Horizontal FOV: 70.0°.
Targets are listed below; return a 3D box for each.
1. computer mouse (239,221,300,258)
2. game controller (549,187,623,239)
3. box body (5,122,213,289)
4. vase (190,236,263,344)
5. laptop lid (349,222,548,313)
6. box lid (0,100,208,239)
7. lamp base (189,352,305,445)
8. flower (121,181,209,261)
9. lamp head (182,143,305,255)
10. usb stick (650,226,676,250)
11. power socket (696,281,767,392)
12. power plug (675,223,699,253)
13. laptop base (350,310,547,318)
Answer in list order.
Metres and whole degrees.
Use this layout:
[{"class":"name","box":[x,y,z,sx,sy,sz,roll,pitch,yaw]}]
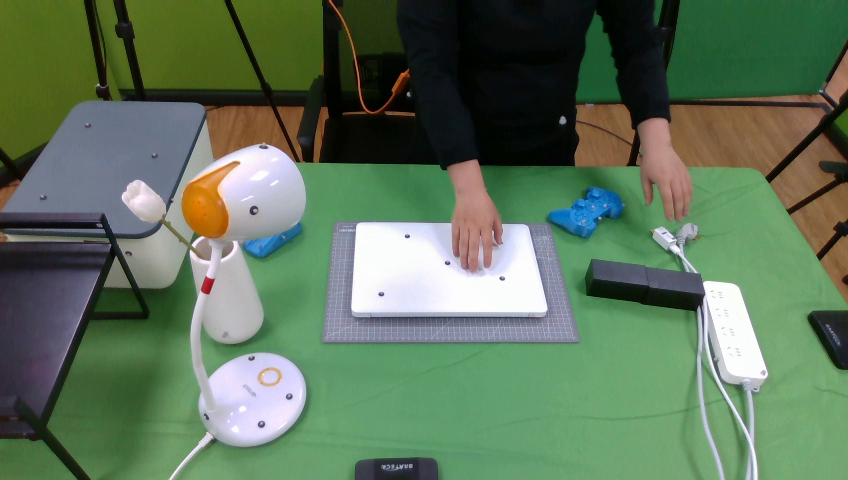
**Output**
[{"class":"computer mouse","box":[-0.300,-0.016,1.178,0.062,0.041,0.117,35,57,22]},{"class":"game controller","box":[0.345,-0.065,1.272,0.155,0.052,0.096,-31,59,-28]},{"class":"box body","box":[-0.563,-0.087,1.140,0.254,0.161,0.361,2,46,-3]},{"class":"vase","box":[-0.317,0.081,0.971,0.098,0.201,0.097,3,47,-3]},{"class":"laptop lid","box":[0.042,0.046,1.142,0.357,0.013,0.240,2,44,-3]},{"class":"box lid","box":[-0.559,-0.138,1.085,0.263,0.015,0.369,2,46,-2]},{"class":"lamp base","box":[-0.268,0.196,0.876,0.160,0.181,0.179,26,52,19]},{"class":"flower","box":[-0.329,0.029,0.905,0.038,0.364,0.044,-22,58,-1]},{"class":"lamp head","box":[-0.216,-0.044,0.697,0.112,0.113,0.123,23,31,17]},{"class":"usb stick","box":[0.486,-0.008,1.238,0.021,0.027,0.059,-24,45,-12]},{"class":"power socket","box":[0.543,0.161,1.077,0.072,0.033,0.225,6,46,2]},{"class":"power plug","box":[0.538,0.000,1.243,0.053,0.035,0.072,18,81,-16]},{"class":"laptop base","box":[0.041,0.056,1.149,0.355,0.023,0.234,0,43,-4]}]
